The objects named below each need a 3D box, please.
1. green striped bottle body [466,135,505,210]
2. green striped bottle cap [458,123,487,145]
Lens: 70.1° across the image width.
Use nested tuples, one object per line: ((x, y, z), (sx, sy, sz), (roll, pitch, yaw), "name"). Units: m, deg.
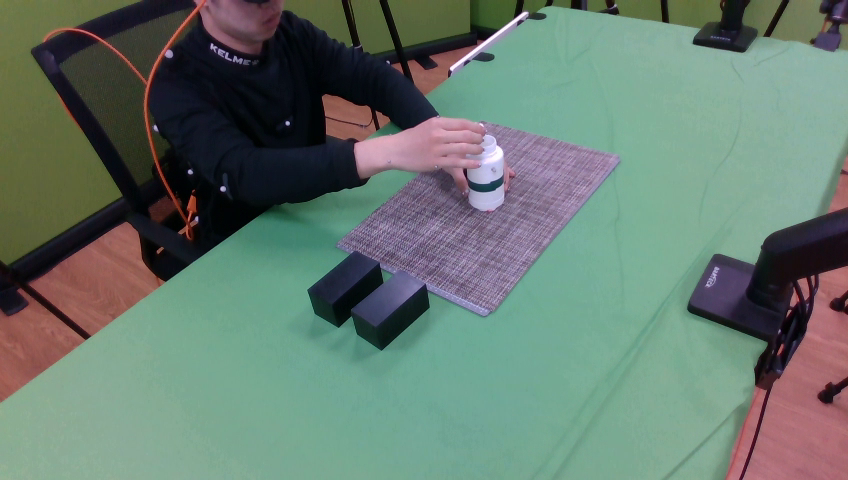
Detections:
((0.103, -0.114, 1.005), (0.063, 0.120, 0.063), (-4, 41, 4), "green striped bottle body")
((0.076, -0.167, 0.953), (0.044, 0.020, 0.044), (-12, 30, 8), "green striped bottle cap")
